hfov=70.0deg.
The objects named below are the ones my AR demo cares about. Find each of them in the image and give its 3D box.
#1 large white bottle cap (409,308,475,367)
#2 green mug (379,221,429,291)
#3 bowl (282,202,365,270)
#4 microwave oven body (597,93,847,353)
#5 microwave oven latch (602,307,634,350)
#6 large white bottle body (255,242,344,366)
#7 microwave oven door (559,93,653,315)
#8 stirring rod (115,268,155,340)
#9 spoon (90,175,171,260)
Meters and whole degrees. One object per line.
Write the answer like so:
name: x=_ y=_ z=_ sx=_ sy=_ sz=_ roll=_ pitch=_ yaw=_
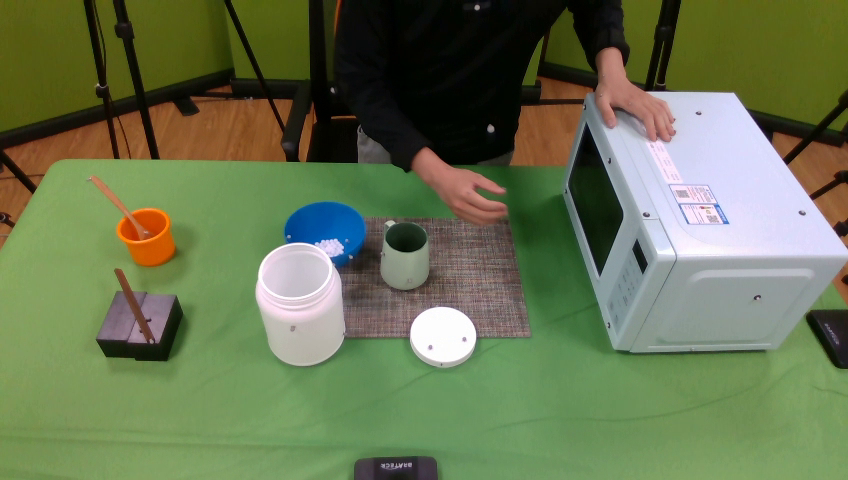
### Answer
large white bottle cap: x=0.031 y=0.166 z=1.041 sx=0.115 sy=0.018 sz=0.114 roll=2 pitch=47 yaw=-2
green mug: x=-0.044 y=0.020 z=1.116 sx=0.092 sy=0.105 sz=0.124 roll=-20 pitch=50 yaw=-22
bowl: x=-0.186 y=0.006 z=1.136 sx=0.151 sy=0.077 sz=0.150 roll=3 pitch=46 yaw=-3
microwave oven body: x=0.475 y=-0.041 z=1.110 sx=0.326 sy=0.261 sz=0.438 roll=-1 pitch=45 yaw=-4
microwave oven latch: x=0.332 y=0.153 z=1.045 sx=0.030 sy=0.029 sz=0.078 roll=-1 pitch=45 yaw=-5
large white bottle body: x=-0.196 y=0.102 z=0.967 sx=0.131 sy=0.185 sz=0.130 roll=2 pitch=49 yaw=-2
microwave oven door: x=0.327 y=-0.074 z=1.123 sx=0.039 sy=0.245 sz=0.353 roll=-1 pitch=46 yaw=-5
stirring rod: x=-0.479 y=0.103 z=0.999 sx=0.014 sy=0.006 sz=0.175 roll=7 pitch=32 yaw=-49
spoon: x=-0.539 y=-0.042 z=1.111 sx=0.021 sy=0.194 sz=0.041 roll=-13 pitch=27 yaw=53
